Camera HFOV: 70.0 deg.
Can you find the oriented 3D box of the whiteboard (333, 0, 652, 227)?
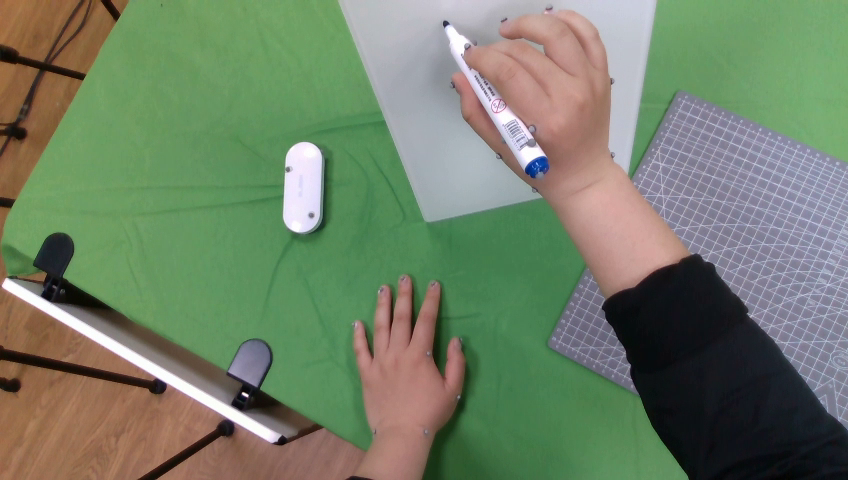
[{"bbox_3d":[0.064,-0.170,0.540,0.217,0.308,0.142,-13,60,6],"label":"whiteboard"}]

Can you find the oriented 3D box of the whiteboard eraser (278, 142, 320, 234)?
[{"bbox_3d":[-0.136,-0.057,0.661,0.041,0.019,0.101,0,82,6],"label":"whiteboard eraser"}]

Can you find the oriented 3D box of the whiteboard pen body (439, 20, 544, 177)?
[{"bbox_3d":[0.039,-0.097,0.391,0.017,0.017,0.139,-28,64,3],"label":"whiteboard pen body"}]
